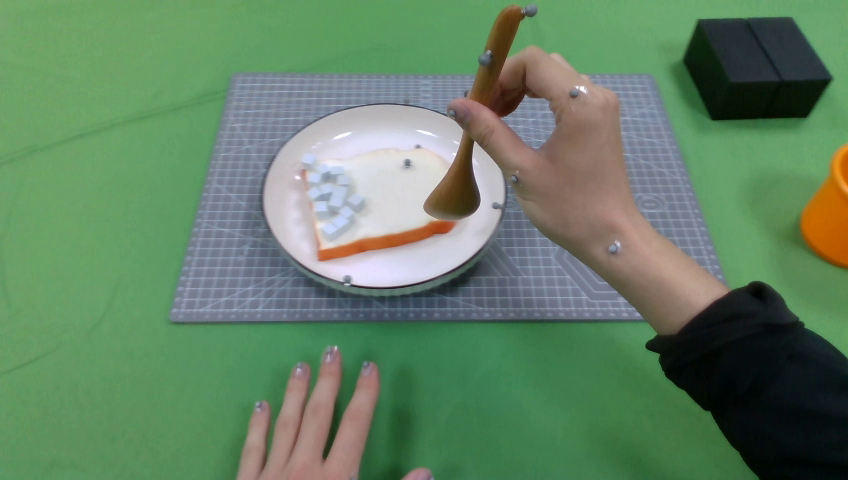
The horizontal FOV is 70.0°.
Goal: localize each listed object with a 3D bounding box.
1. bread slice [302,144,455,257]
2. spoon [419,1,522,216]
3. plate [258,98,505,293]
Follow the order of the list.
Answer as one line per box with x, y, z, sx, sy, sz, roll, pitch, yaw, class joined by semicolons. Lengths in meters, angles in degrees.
-0.038;-0.043;0.530;0.132;0.019;0.104;-13;56;-9;bread slice
0.027;-0.067;0.372;0.042;0.195;0.021;1;57;-8;spoon
-0.036;-0.040;0.525;0.209;0.038;0.207;1;55;-1;plate
